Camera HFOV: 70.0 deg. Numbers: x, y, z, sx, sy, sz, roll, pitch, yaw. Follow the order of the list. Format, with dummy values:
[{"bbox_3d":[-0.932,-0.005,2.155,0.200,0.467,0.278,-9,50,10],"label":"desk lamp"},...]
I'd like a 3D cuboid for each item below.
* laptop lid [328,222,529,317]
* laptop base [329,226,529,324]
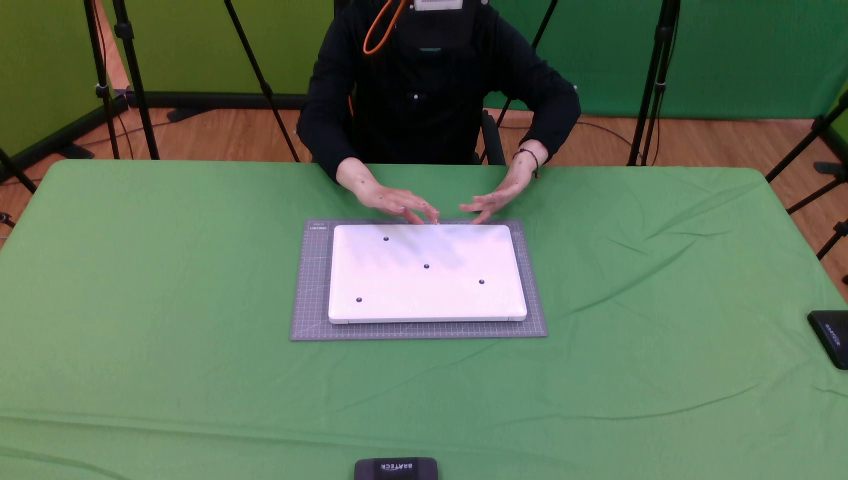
[{"bbox_3d":[0.005,0.049,1.128,0.357,0.013,0.240,1,46,-3],"label":"laptop lid"},{"bbox_3d":[0.005,0.061,1.136,0.355,0.023,0.234,-1,43,-4],"label":"laptop base"}]
